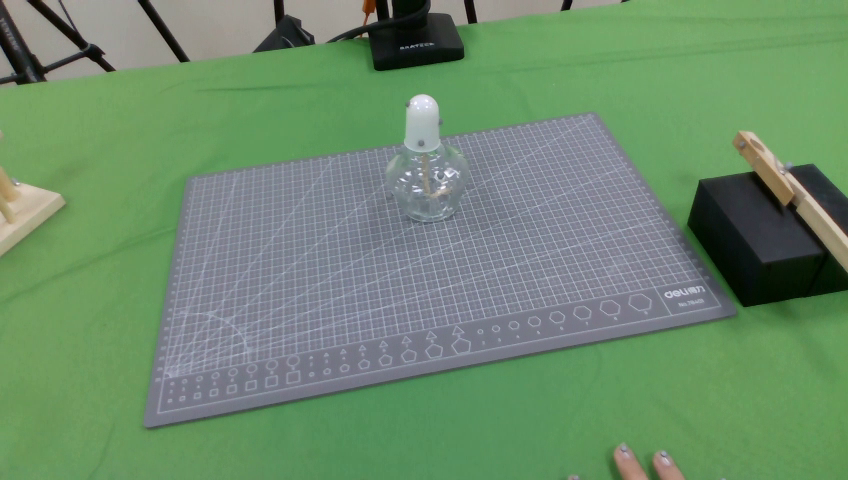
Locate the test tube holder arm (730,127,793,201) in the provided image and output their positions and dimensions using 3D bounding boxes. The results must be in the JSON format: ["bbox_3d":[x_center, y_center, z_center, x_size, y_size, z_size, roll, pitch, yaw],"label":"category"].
[{"bbox_3d":[0.280,-0.064,0.501,0.010,0.015,0.087,-3,44,-8],"label":"test tube holder arm"}]

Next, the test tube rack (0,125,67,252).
[{"bbox_3d":[-0.452,-0.001,0.534,0.066,0.086,0.241,15,48,20],"label":"test tube rack"}]

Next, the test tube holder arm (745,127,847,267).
[{"bbox_3d":[0.292,-0.033,0.470,0.013,0.015,0.176,-3,44,-8],"label":"test tube holder arm"}]

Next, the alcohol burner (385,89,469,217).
[{"bbox_3d":[0.001,-0.080,0.544,0.078,0.120,0.077,-3,43,4],"label":"alcohol burner"}]

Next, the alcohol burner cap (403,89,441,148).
[{"bbox_3d":[-0.001,-0.105,0.518,0.034,0.048,0.033,1,44,-1],"label":"alcohol burner cap"}]
